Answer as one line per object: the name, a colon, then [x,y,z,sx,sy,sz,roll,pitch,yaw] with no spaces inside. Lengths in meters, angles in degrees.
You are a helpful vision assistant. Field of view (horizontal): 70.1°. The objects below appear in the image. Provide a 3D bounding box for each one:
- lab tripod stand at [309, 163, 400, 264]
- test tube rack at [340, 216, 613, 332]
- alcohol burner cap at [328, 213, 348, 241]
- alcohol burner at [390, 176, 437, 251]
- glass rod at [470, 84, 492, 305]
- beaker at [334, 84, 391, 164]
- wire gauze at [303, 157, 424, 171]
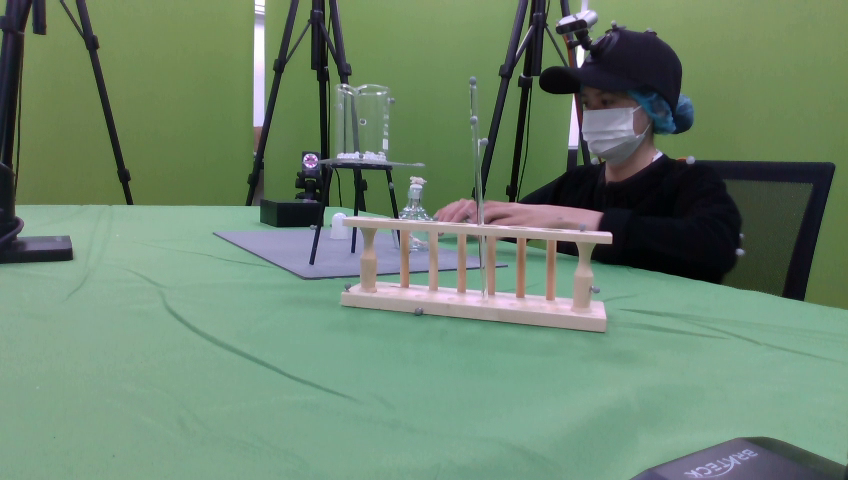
lab tripod stand: [-0.091,-0.037,0.813,0.148,0.131,0.148,1,6,0]
test tube rack: [0.047,0.026,0.568,0.242,0.085,0.067,4,8,13]
alcohol burner cap: [-0.148,-0.024,1.050,0.034,0.048,0.034,3,7,0]
alcohol burner: [-0.016,-0.042,0.955,0.078,0.119,0.078,4,5,0]
glass rod: [0.051,-0.036,0.535,0.008,0.199,0.008,-5,10,1]
beaker: [-0.082,-0.149,0.792,0.074,0.100,0.084,2,5,4]
wire gauze: [-0.082,-0.102,0.799,0.126,0.011,0.121,1,7,-30]
